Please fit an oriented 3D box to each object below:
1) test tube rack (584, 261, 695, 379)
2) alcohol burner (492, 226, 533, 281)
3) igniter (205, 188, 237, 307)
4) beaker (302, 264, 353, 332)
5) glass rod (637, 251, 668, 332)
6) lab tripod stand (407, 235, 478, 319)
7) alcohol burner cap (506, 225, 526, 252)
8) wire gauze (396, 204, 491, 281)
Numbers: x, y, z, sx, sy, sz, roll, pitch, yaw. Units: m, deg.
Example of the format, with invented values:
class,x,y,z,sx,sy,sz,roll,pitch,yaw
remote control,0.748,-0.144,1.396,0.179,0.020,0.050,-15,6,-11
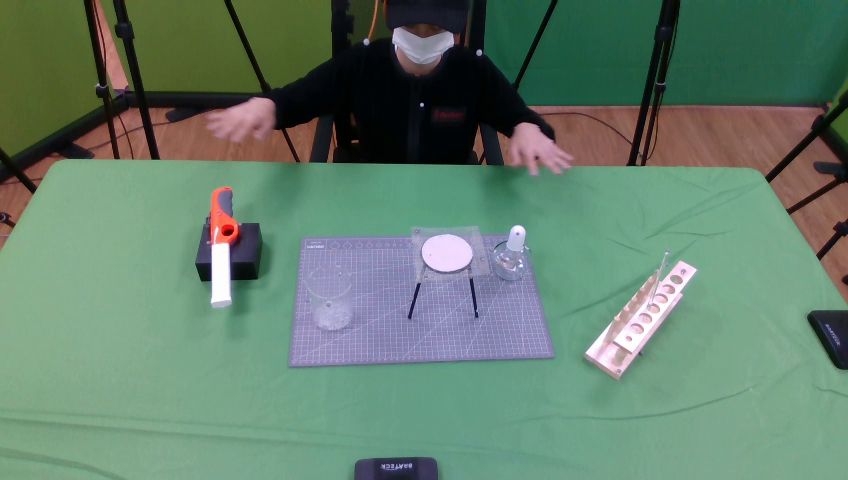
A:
class,x,y,z,sx,sy,sz,roll,pitch,yaw
test tube rack,0.380,0.127,1.062,0.066,0.085,0.242,34,53,26
alcohol burner,0.166,0.020,1.125,0.078,0.120,0.077,1,46,-1
igniter,-0.367,0.004,1.097,0.057,0.025,0.274,-7,50,-11
beaker,-0.162,0.101,1.030,0.084,0.101,0.073,4,46,0
glass rod,0.378,0.090,1.005,0.008,0.201,0.008,-1,44,1
lab tripod stand,0.032,0.065,1.057,0.148,0.132,0.147,1,45,-1
alcohol burner cap,0.169,-0.005,1.099,0.034,0.048,0.033,3,42,-3
wire gauze,0.032,0.004,0.999,0.125,0.011,0.120,-22,54,-14
